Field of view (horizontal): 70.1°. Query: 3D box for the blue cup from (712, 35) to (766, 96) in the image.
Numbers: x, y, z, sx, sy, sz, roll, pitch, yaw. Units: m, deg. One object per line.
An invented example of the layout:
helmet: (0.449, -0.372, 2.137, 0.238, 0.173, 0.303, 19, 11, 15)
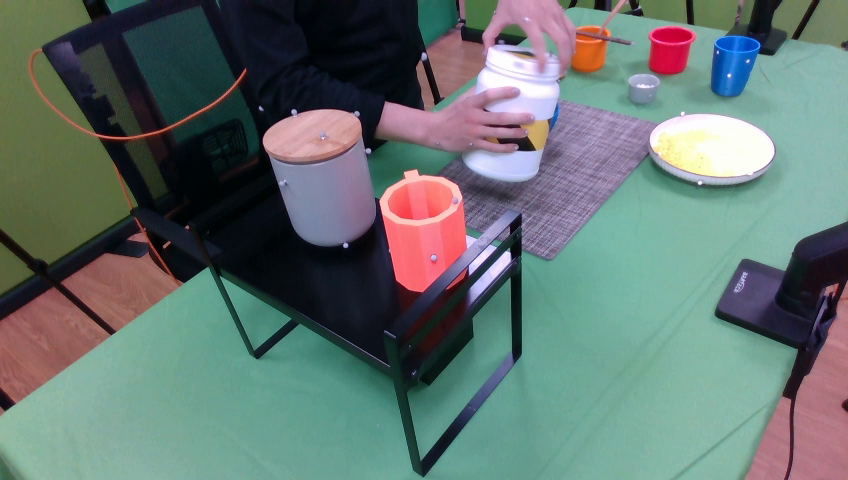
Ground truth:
blue cup: (0.627, -0.350, 1.227, 0.092, 0.100, 0.092, -4, 39, 4)

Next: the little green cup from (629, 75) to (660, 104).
little green cup: (0.457, -0.314, 1.260, 0.061, 0.039, 0.061, -4, 40, 4)

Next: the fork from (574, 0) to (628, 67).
fork: (0.413, -0.481, 1.377, 0.207, 0.019, 0.028, -56, 43, 12)

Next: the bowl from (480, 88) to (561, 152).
bowl: (0.185, -0.222, 1.161, 0.151, 0.077, 0.150, -5, 40, 4)

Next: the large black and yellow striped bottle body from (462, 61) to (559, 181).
large black and yellow striped bottle body: (0.139, -0.201, 0.966, 0.131, 0.184, 0.130, 9, 29, -4)

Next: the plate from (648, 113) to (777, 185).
plate: (0.506, -0.158, 1.073, 0.209, 0.038, 0.208, -5, 40, 4)

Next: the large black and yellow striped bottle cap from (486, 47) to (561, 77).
large black and yellow striped bottle cap: (0.153, -0.274, 0.926, 0.115, 0.019, 0.114, 7, 28, -3)

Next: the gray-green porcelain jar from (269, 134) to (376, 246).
gray-green porcelain jar: (-0.115, -0.064, 0.715, 0.106, 0.127, 0.105, -4, 40, 4)

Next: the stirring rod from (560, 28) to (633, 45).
stirring rod: (0.382, -0.453, 1.346, 0.174, 0.006, 0.014, 26, 53, 34)

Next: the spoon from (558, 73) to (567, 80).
spoon: (0.250, -0.336, 1.332, 0.194, 0.022, 0.041, -32, 32, -25)

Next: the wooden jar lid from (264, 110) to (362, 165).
wooden jar lid: (-0.122, -0.112, 0.673, 0.108, 0.021, 0.108, -4, 37, 4)

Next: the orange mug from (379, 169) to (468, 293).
orange mug: (-0.002, -0.019, 0.665, 0.083, 0.101, 0.125, -12, 45, -4)
